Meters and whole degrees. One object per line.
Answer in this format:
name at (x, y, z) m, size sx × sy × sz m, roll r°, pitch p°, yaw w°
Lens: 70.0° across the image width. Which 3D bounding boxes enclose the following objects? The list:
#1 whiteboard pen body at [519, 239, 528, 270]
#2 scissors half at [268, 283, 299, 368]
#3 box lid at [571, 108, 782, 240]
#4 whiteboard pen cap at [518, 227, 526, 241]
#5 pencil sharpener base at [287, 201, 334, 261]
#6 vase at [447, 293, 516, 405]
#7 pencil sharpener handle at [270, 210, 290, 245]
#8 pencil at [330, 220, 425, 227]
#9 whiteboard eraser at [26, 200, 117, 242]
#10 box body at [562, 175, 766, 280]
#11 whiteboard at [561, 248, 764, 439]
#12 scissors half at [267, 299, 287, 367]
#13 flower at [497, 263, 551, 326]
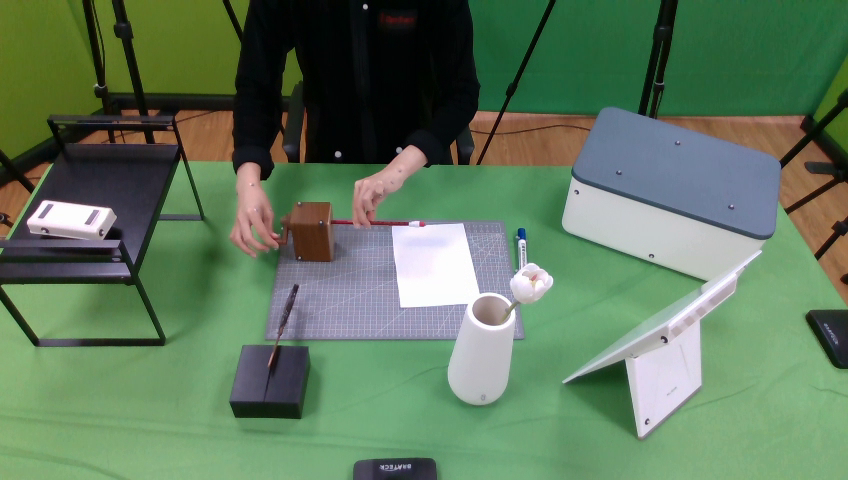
whiteboard pen body at (0.193, 0.035, 1.180) m, size 0.017 × 0.017 × 0.140 m, roll 6°, pitch 48°, yaw 1°
scissors half at (-0.230, 0.135, 0.986) m, size 0.013 × 0.040 × 0.174 m, roll 19°, pitch 43°, yaw -11°
box lid at (0.491, -0.139, 1.168) m, size 0.370 × 0.015 × 0.262 m, roll 21°, pitch 49°, yaw 15°
whiteboard pen cap at (0.197, -0.009, 1.220) m, size 0.018 × 0.018 × 0.033 m, roll 5°, pitch 51°, yaw 1°
pencil sharpener base at (-0.212, -0.016, 1.134) m, size 0.077 × 0.107 × 0.061 m, roll 1°, pitch 47°, yaw -3°
vase at (0.091, 0.169, 0.921) m, size 0.098 × 0.201 × 0.097 m, roll 3°, pitch 47°, yaw -3°
pencil sharpener handle at (-0.262, -0.022, 1.104) m, size 0.031 × 0.036 × 0.067 m, roll 1°, pitch 66°, yaw -3°
pencil at (-0.096, -0.032, 1.112) m, size 0.194 × 0.012 × 0.012 m, roll 2°, pitch 46°, yaw 3°
whiteboard eraser at (-0.532, -0.026, 0.919) m, size 0.113 × 0.042 × 0.055 m, roll 7°, pitch 45°, yaw 3°
box body at (0.486, -0.088, 1.222) m, size 0.363 × 0.161 × 0.253 m, roll 20°, pitch 48°, yaw 15°
whiteboard at (0.386, 0.176, 0.905) m, size 0.217 × 0.306 × 0.143 m, roll -26°, pitch 72°, yaw -27°
scissors half at (-0.239, 0.150, 0.997) m, size 0.013 × 0.040 × 0.174 m, roll 24°, pitch 24°, yaw -13°
flower at (0.102, 0.121, 0.852) m, size 0.044 × 0.363 × 0.038 m, roll -2°, pitch 64°, yaw -9°
